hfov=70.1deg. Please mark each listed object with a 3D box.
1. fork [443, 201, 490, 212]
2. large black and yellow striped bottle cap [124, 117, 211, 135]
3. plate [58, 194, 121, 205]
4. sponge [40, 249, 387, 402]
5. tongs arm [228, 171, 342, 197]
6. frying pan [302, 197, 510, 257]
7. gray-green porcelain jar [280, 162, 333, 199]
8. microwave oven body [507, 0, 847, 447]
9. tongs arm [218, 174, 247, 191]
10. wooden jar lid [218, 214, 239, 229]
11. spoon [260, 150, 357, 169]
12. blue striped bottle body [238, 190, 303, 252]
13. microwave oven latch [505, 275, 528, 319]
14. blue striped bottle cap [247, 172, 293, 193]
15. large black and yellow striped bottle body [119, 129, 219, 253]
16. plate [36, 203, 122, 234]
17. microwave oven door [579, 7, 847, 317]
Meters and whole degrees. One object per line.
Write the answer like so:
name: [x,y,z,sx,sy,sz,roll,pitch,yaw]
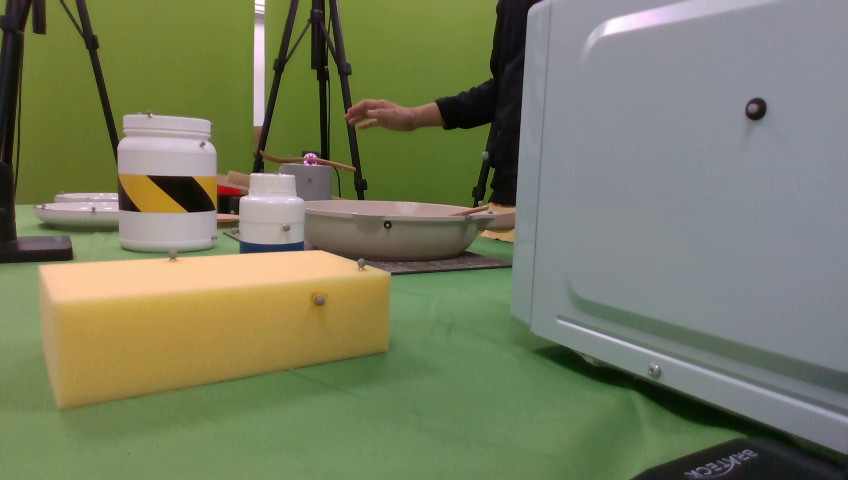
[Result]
fork: [-0.006,-0.020,0.852,0.207,0.018,0.028,-22,-3,10]
large black and yellow striped bottle cap: [-0.366,-0.163,0.866,0.115,0.019,0.115,3,7,0]
plate: [-0.671,-0.074,1.310,0.209,0.038,0.209,2,8,0]
sponge: [-0.142,0.047,0.420,0.208,0.061,0.117,-3,8,-36]
tongs arm: [-0.267,-0.103,1.378,0.387,0.026,0.050,11,-4,-40]
frying pan: [0.050,-0.035,0.915,0.487,0.102,0.307,-5,7,10]
gray-green porcelain jar: [-0.238,-0.092,1.221,0.106,0.126,0.106,2,7,0]
microwave oven body: [0.331,-0.042,0.425,0.444,0.260,0.324,-2,8,-31]
tongs arm: [-0.315,-0.109,1.448,0.389,0.027,0.028,10,-7,-26]
wooden jar lid: [-0.404,-0.037,1.169,0.108,0.020,0.108,3,7,0]
spoon: [-0.231,-0.162,1.221,0.194,0.021,0.041,3,3,-15]
blue striped bottle body: [-0.153,-0.007,0.606,0.063,0.120,0.063,2,8,0]
microwave oven latch: [0.100,0.042,0.471,0.079,0.029,0.030,-1,7,-28]
blue striped bottle cap: [-0.152,-0.057,0.598,0.044,0.020,0.044,3,6,0]
large black and yellow striped bottle body: [-0.367,-0.080,0.876,0.131,0.184,0.130,2,7,0]
plate: [-0.571,-0.040,1.083,0.208,0.039,0.207,2,8,0]
microwave oven door: [0.295,-0.067,0.570,0.358,0.243,0.039,-3,9,-31]
